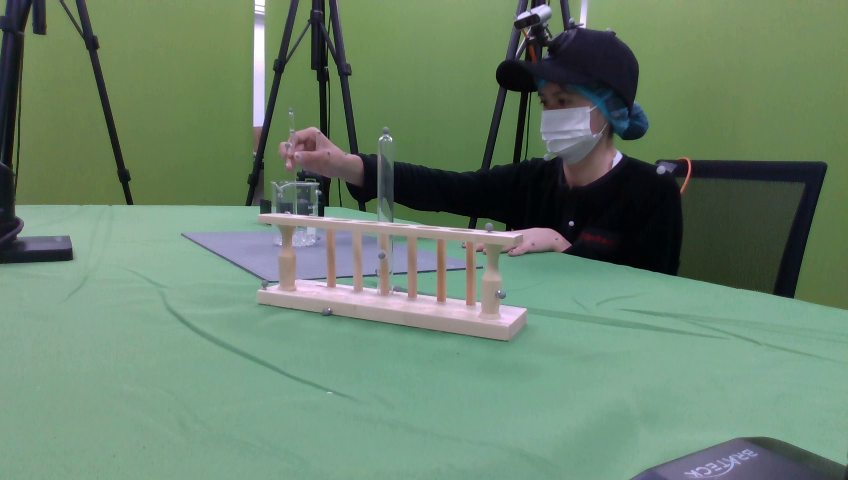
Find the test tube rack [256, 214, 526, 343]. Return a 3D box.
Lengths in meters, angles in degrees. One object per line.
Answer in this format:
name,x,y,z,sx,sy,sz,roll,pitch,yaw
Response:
test tube rack,-0.032,0.027,0.547,0.241,0.085,0.067,5,7,22

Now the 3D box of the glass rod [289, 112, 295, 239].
glass rod,-0.207,-0.099,0.949,0.008,0.199,0.008,2,11,0

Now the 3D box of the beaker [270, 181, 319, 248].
beaker,-0.203,-0.040,0.935,0.074,0.100,0.084,5,8,18

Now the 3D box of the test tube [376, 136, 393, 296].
test tube,-0.037,-0.021,0.565,0.017,0.150,0.017,1,6,0
